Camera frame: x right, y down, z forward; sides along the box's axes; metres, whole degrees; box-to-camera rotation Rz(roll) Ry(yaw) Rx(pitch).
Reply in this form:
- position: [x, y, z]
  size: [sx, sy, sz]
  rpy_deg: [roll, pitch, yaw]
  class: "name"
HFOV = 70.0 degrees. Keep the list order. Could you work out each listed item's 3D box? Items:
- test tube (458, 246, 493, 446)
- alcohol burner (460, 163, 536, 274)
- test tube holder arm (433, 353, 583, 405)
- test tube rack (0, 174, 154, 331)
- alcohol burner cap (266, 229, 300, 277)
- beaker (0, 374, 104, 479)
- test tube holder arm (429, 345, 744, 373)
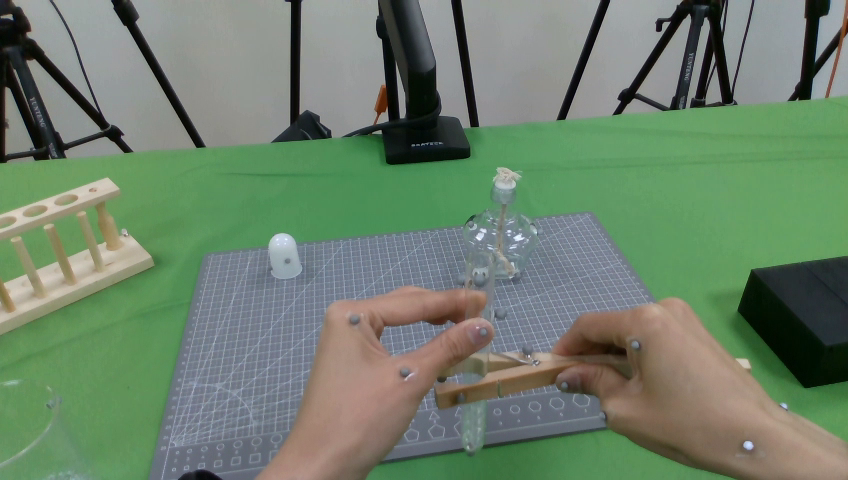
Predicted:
- position: [0.028, 0.067, 0.343]
  size: [0.017, 0.151, 0.017]
  rpy_deg: [-1, 36, 1]
  class: "test tube"
- position: [0.076, -0.025, 0.609]
  size: [0.078, 0.120, 0.077]
  rpy_deg: [0, 36, 0]
  class: "alcohol burner"
- position: [0.049, 0.077, 0.346]
  size: [0.088, 0.015, 0.010]
  rpy_deg: [-12, 40, -10]
  class: "test tube holder arm"
- position: [-0.405, 0.027, 0.587]
  size: [0.242, 0.086, 0.066]
  rpy_deg: [-30, 45, -33]
  class: "test tube rack"
- position: [-0.149, 0.011, 0.630]
  size: [0.034, 0.048, 0.033]
  rpy_deg: [-2, 36, 1]
  class: "alcohol burner cap"
- position: [-0.265, 0.150, 0.398]
  size: [0.084, 0.101, 0.073]
  rpy_deg: [-2, 36, 1]
  class: "beaker"
- position: [0.092, 0.070, 0.352]
  size: [0.178, 0.015, 0.013]
  rpy_deg: [-2, 40, 2]
  class: "test tube holder arm"
